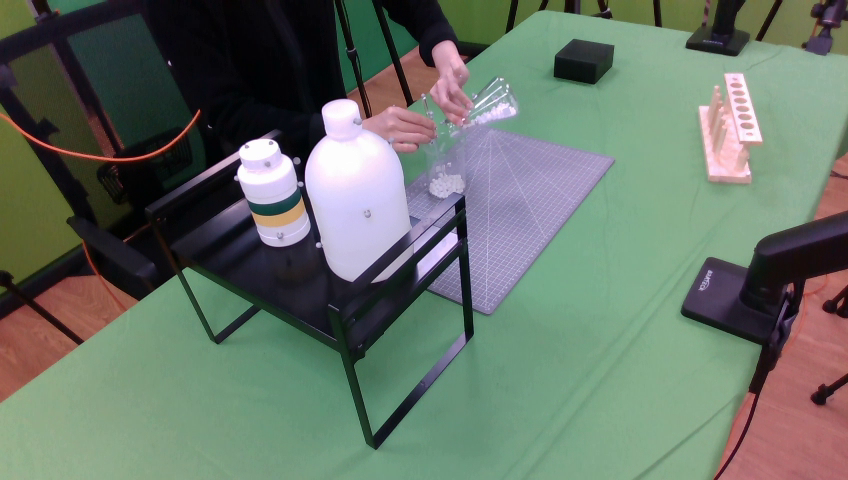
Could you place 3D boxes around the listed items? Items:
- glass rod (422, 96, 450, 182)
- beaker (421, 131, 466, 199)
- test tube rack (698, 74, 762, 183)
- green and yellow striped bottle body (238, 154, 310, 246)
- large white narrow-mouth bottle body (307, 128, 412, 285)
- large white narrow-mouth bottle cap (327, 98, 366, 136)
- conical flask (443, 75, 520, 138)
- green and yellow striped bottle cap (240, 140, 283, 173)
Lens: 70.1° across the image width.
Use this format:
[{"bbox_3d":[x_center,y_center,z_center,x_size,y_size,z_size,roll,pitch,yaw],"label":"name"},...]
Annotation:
[{"bbox_3d":[0.023,-0.165,1.019,0.008,0.201,0.008,-8,53,11],"label":"glass rod"},{"bbox_3d":[0.040,-0.130,1.060,0.084,0.100,0.073,-24,43,-20],"label":"beaker"},{"bbox_3d":[0.547,-0.208,1.095,0.066,0.085,0.242,5,42,15],"label":"test tube rack"},{"bbox_3d":[-0.178,-0.056,0.714,0.063,0.120,0.063,-4,40,4],"label":"green and yellow striped bottle body"},{"bbox_3d":[-0.070,-0.051,0.638,0.102,0.195,0.101,-3,40,3],"label":"large white narrow-mouth bottle body"},{"bbox_3d":[-0.075,-0.118,0.581,0.038,0.024,0.037,-3,40,3],"label":"large white narrow-mouth bottle cap"},{"bbox_3d":[0.094,-0.217,1.017,0.122,0.076,0.074,-30,42,2],"label":"conical flask"},{"bbox_3d":[-0.183,-0.094,0.679,0.045,0.020,0.045,-4,38,4],"label":"green and yellow striped bottle cap"}]
